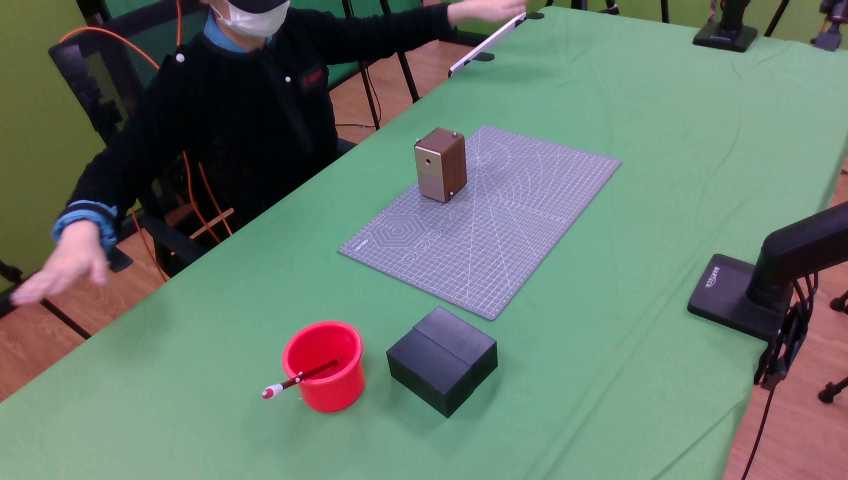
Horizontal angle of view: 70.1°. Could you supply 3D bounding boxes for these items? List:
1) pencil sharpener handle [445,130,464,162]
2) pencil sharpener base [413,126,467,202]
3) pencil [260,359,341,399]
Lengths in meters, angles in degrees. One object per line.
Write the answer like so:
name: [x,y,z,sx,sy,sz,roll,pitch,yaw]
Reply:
pencil sharpener handle: [0.059,-0.171,1.070,0.036,0.068,0.031,26,50,25]
pencil sharpener base: [0.032,-0.132,1.047,0.061,0.107,0.077,22,48,30]
pencil: [-0.137,0.157,0.706,0.012,0.012,0.195,6,1,16]
